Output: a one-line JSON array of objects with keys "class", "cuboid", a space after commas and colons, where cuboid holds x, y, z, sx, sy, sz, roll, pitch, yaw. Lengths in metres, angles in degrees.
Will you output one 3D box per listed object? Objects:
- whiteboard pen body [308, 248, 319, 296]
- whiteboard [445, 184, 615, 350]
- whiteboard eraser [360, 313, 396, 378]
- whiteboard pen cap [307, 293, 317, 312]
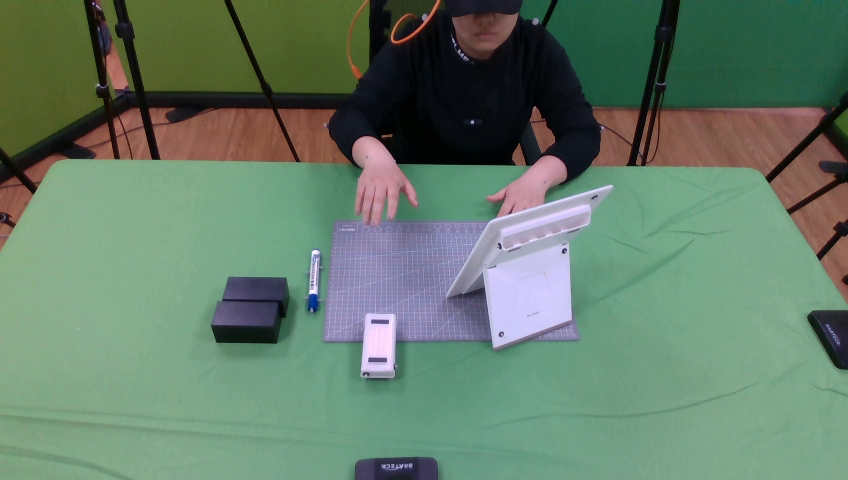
[{"class": "whiteboard pen body", "cuboid": [-0.204, 0.069, 1.119, 0.017, 0.017, 0.140, -1, 46, -5]}, {"class": "whiteboard", "cuboid": [0.186, 0.065, 0.989, 0.217, 0.306, 0.143, -15, 68, -18]}, {"class": "whiteboard eraser", "cuboid": [-0.075, 0.176, 1.006, 0.055, 0.042, 0.112, 3, 50, -4]}, {"class": "whiteboard pen cap", "cuboid": [-0.199, 0.110, 1.078, 0.018, 0.018, 0.033, -1, 47, -5]}]
